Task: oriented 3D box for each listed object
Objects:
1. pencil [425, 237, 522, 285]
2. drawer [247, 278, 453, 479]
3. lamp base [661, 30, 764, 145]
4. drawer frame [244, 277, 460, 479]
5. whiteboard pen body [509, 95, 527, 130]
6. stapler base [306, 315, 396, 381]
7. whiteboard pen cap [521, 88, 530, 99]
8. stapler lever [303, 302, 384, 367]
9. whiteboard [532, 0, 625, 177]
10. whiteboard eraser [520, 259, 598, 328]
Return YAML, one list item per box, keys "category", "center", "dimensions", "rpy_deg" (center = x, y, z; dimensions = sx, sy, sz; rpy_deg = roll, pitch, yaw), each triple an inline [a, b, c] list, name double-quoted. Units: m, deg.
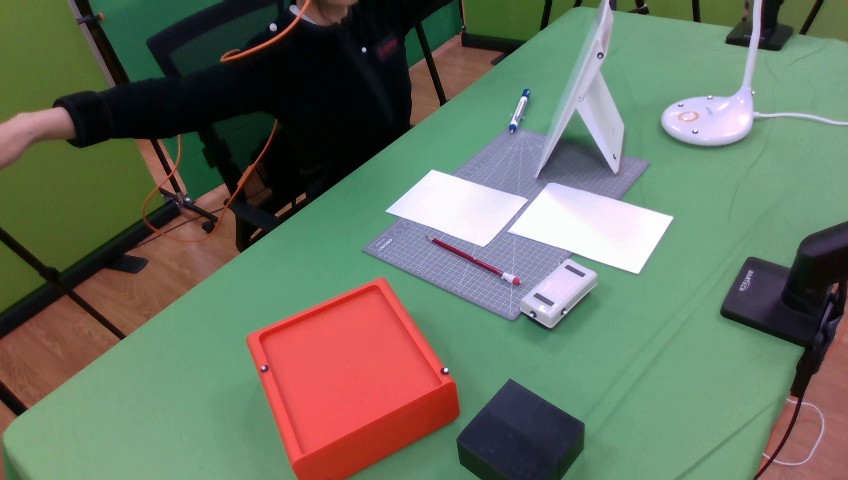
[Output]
- category: "pencil"
  center: [0.071, 0.029, 0.941]
  dimensions: [0.192, 0.012, 0.012]
  rpy_deg: [26, 51, 37]
- category: "drawer"
  center: [-0.096, 0.167, 0.758]
  dimensions: [0.195, 0.073, 0.210]
  rpy_deg: [-22, 43, -16]
- category: "lamp base"
  center: [0.535, -0.287, 1.096]
  dimensions: [0.179, 0.181, 0.159]
  rpy_deg: [-10, 40, -4]
- category: "drawer frame"
  center: [-0.093, 0.167, 0.755]
  dimensions: [0.202, 0.083, 0.211]
  rpy_deg: [-23, 43, -17]
- category: "whiteboard pen body"
  center: [0.199, -0.273, 1.261]
  dimensions: [0.017, 0.017, 0.140]
  rpy_deg: [8, 44, 19]
- category: "stapler base"
  center: [-0.101, 0.139, 0.819]
  dimensions: [0.131, 0.024, 0.041]
  rpy_deg: [-31, 37, -13]
- category: "whiteboard pen cap"
  center: [0.218, -0.312, 1.301]
  dimensions: [0.018, 0.018, 0.033]
  rpy_deg: [7, 46, 18]
- category: "stapler lever"
  center: [-0.108, 0.124, 0.806]
  dimensions: [0.118, 0.040, 0.026]
  rpy_deg: [-27, 36, -15]
- category: "whiteboard"
  center: [0.321, -0.258, 1.050]
  dimensions: [0.144, 0.306, 0.217]
  rpy_deg: [21, 45, 5]
- category: "whiteboard eraser"
  center: [0.189, 0.076, 0.843]
  dimensions: [0.055, 0.042, 0.113]
  rpy_deg: [29, 53, 37]
